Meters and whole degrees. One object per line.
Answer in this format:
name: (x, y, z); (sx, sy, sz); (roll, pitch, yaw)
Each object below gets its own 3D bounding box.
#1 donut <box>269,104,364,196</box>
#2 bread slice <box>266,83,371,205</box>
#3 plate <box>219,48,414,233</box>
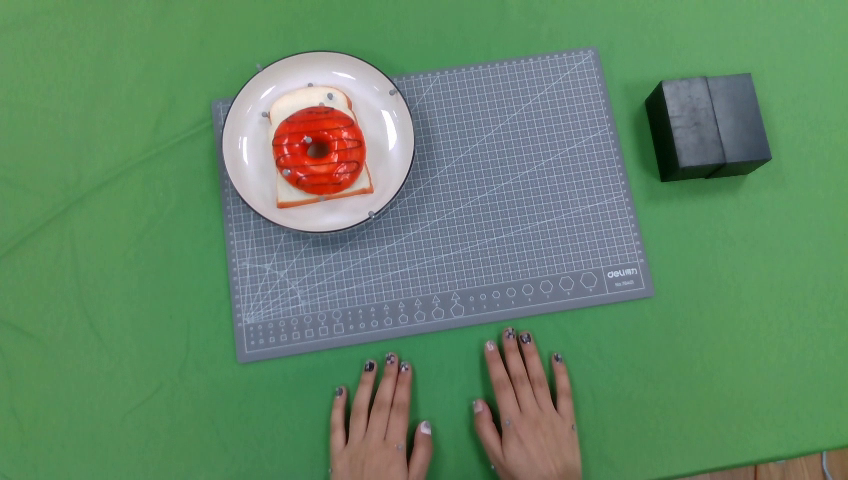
donut: (-0.112, -0.094, 0.634); (0.099, 0.048, 0.098); (1, 81, -4)
bread slice: (-0.123, -0.109, 0.666); (0.105, 0.019, 0.131); (-12, 79, -4)
plate: (-0.115, -0.106, 0.664); (0.209, 0.038, 0.208); (0, 79, -1)
